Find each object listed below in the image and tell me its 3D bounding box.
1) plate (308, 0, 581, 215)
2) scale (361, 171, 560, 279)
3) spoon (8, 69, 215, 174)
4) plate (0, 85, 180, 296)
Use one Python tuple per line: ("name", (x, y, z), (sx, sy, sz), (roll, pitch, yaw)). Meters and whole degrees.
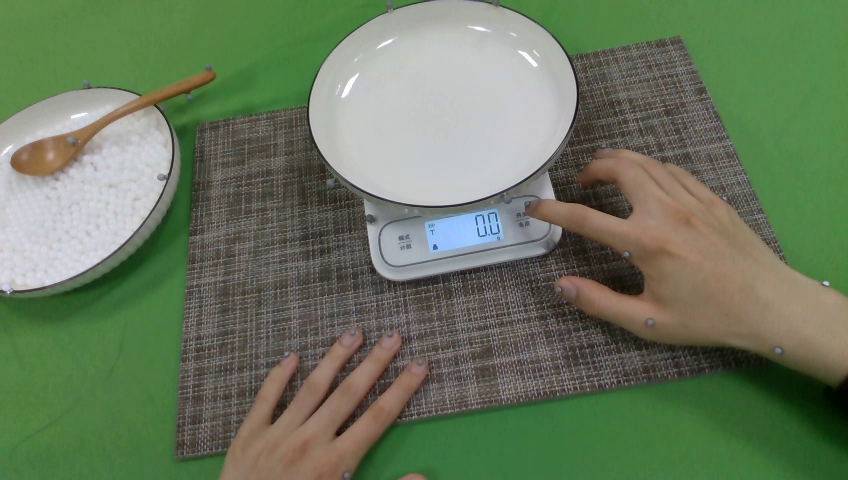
("plate", (0.015, -0.105, 0.477), (0.207, 0.039, 0.206), (-3, 62, 5))
("scale", (0.019, -0.071, 0.495), (0.148, 0.032, 0.199), (-11, 62, 2))
("spoon", (-0.274, -0.108, 0.535), (0.194, 0.022, 0.041), (-26, 61, 1))
("plate", (-0.309, -0.043, 0.524), (0.209, 0.038, 0.207), (-3, 62, 5))
